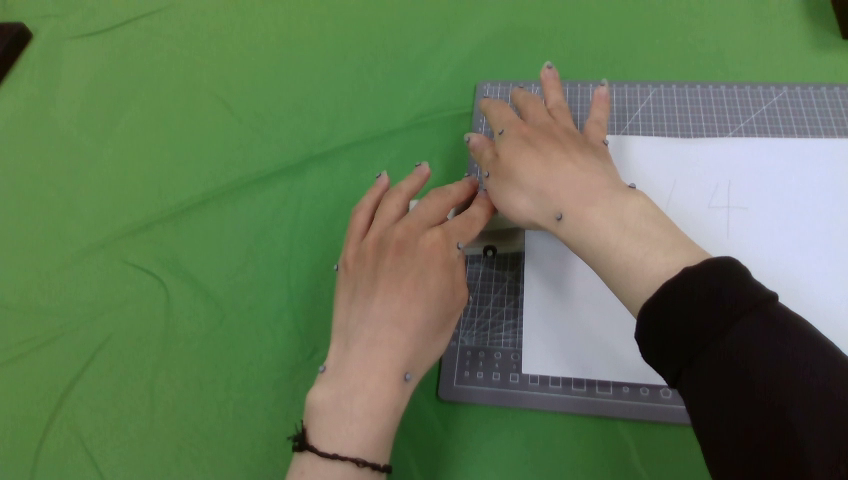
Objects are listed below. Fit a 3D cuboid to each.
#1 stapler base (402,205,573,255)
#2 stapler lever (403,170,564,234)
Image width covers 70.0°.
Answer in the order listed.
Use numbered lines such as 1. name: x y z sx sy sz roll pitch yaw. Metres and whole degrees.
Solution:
1. stapler base: 0.046 -0.014 0.459 0.130 0.025 0.041 -4 56 7
2. stapler lever: 0.041 -0.027 0.437 0.118 0.040 0.026 -4 56 8
